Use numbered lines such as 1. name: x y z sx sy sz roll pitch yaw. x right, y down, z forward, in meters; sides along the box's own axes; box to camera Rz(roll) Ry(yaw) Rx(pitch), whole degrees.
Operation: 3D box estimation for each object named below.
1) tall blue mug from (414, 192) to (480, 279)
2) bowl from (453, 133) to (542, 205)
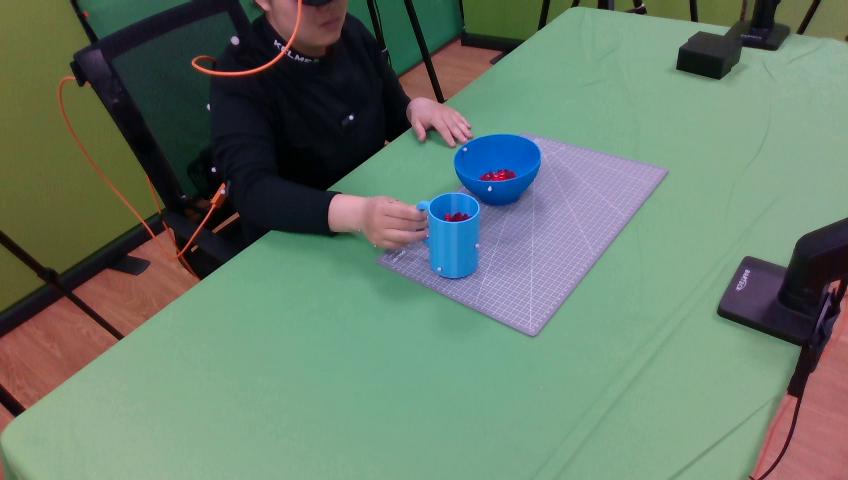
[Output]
1. tall blue mug: 0.030 -0.008 0.908 0.107 0.108 0.077 6 40 10
2. bowl: 0.129 -0.112 1.045 0.151 0.077 0.150 -5 40 5
